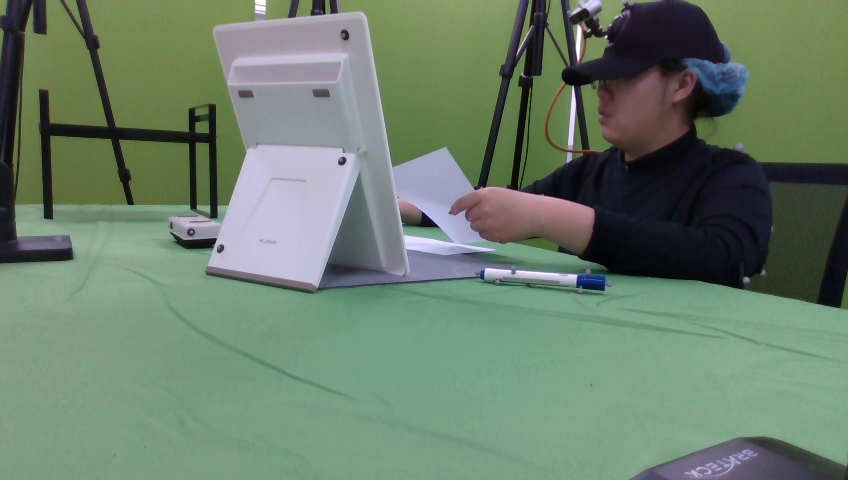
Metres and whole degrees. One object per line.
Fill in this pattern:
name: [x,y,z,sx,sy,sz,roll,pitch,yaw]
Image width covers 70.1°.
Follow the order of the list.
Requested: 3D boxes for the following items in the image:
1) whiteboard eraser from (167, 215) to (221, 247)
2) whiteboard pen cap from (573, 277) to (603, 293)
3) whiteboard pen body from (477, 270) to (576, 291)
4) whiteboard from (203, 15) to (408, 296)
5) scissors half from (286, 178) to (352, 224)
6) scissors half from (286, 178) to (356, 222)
whiteboard eraser: [-0.350,-0.014,0.920,0.056,0.042,0.112,0,7,-35]
whiteboard pen cap: [0.186,0.051,0.687,0.033,0.018,0.018,4,8,17]
whiteboard pen body: [0.131,0.048,0.707,0.140,0.017,0.017,4,8,17]
whiteboard: [-0.166,-0.072,0.669,0.216,0.305,0.144,8,30,30]
scissors half: [-0.231,-0.086,1.316,0.175,0.013,0.040,34,14,8]
scissors half: [-0.228,-0.090,1.336,0.175,0.013,0.040,31,9,-10]
